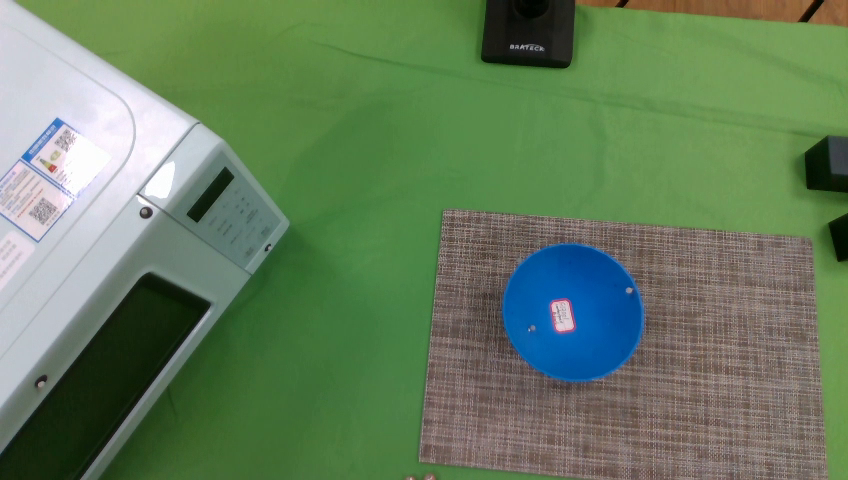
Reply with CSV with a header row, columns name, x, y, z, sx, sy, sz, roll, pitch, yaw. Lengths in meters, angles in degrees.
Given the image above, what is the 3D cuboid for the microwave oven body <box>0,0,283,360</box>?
name,x,y,z,sx,sy,sz,roll,pitch,yaw
microwave oven body,-0.419,0.031,0.616,0.325,0.261,0.441,33,79,9

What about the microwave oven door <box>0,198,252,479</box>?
name,x,y,z,sx,sy,sz,roll,pitch,yaw
microwave oven door,-0.321,0.140,0.578,0.039,0.245,0.355,32,78,11

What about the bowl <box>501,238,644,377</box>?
name,x,y,z,sx,sy,sz,roll,pitch,yaw
bowl,0.158,0.080,0.681,0.151,0.077,0.150,0,74,2

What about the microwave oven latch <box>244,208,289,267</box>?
name,x,y,z,sx,sy,sz,roll,pitch,yaw
microwave oven latch,-0.194,-0.007,0.720,0.030,0.029,0.079,35,79,10
